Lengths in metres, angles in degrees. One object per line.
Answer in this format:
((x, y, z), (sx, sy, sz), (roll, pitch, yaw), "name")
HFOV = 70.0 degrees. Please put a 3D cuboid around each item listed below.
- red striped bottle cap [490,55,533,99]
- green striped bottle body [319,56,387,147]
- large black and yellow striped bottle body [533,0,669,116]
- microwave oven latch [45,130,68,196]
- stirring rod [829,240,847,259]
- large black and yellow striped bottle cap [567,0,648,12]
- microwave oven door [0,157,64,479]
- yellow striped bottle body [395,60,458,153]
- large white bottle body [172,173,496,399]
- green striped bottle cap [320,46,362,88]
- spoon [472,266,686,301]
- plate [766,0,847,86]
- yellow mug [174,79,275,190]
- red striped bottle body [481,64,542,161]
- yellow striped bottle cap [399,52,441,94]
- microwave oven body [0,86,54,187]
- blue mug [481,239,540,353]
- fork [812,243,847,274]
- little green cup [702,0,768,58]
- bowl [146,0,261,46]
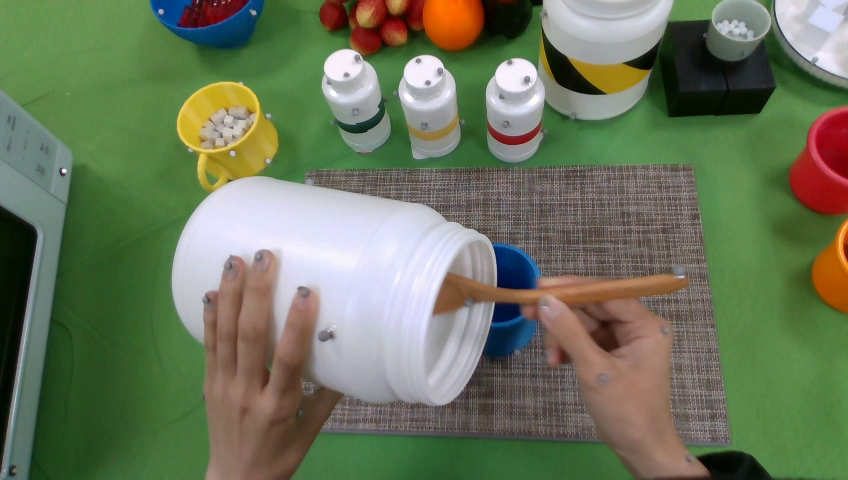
((0.090, -0.167, 0.621), (0.044, 0.018, 0.044), (-1, 65, 2), "red striped bottle cap")
((-0.082, -0.165, 0.698), (0.063, 0.120, 0.062), (-2, 66, 6), "green striped bottle body")
((0.189, -0.238, 0.662), (0.130, 0.185, 0.130), (-2, 66, 6), "large black and yellow striped bottle body")
((-0.454, -0.091, 0.734), (0.030, 0.030, 0.078), (-7, 67, 3), "microwave oven latch")
((0.414, 0.037, 0.544), (0.014, 0.006, 0.175), (2, 24, 5), "stirring rod")
((0.179, -0.271, 0.583), (0.115, 0.019, 0.114), (-3, 67, 9), "large black and yellow striped bottle cap")
((-0.443, 0.067, 0.554), (0.039, 0.246, 0.353), (-9, 66, 4), "microwave oven door")
((0.003, -0.155, 0.683), (0.063, 0.121, 0.062), (-3, 66, 7), "yellow striped bottle body")
((-0.056, 0.029, 0.407), (0.183, 0.132, 0.130), (11, 68, 25), "large white bottle body")
((-0.089, -0.186, 0.650), (0.044, 0.020, 0.044), (-2, 66, 4), "green striped bottle cap")
((0.063, 0.032, 0.387), (0.193, 0.042, 0.021), (-4, 37, 29), "spoon")
((0.511, -0.261, 0.715), (0.209, 0.038, 0.207), (-2, 67, 6), "plate")
((-0.243, -0.121, 0.727), (0.100, 0.064, 0.130), (9, 69, 11), "yellow mug")
((0.097, -0.145, 0.669), (0.063, 0.121, 0.062), (-5, 62, 11), "red striped bottle body")
((-0.004, -0.176, 0.636), (0.044, 0.019, 0.044), (-1, 63, 2), "yellow striped bottle cap")
((-0.591, 0.052, 0.583), (0.326, 0.262, 0.438), (-9, 67, 3), "microwave oven body")
((0.054, 0.065, 0.587), (0.116, 0.107, 0.081), (-29, 65, -5), "blue mug")
((0.442, 0.039, 0.532), (0.028, 0.019, 0.205), (-26, 22, -13), "fork")
((0.339, -0.233, 0.667), (0.061, 0.039, 0.061), (-1, 64, 3), "little green cup")
((-0.279, -0.316, 0.808), (0.151, 0.077, 0.150), (-2, 67, 5), "bowl")
